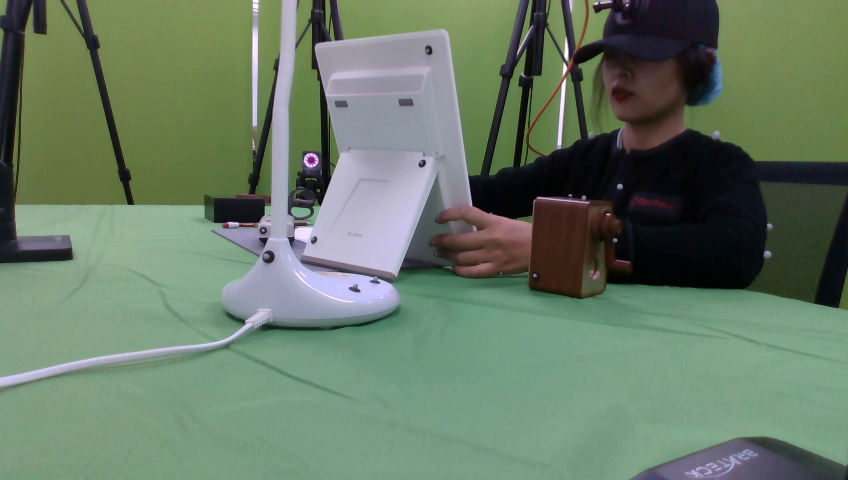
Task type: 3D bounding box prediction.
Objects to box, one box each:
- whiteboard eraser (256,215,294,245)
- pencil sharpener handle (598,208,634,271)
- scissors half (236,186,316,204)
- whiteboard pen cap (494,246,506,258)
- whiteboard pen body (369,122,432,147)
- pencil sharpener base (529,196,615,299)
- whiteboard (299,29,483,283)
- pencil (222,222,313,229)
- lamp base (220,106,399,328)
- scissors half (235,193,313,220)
[{"bbox_3d":[-0.232,-0.016,0.951,0.056,0.042,0.112,2,7,-12],"label":"whiteboard eraser"},{"bbox_3d":[0.208,0.000,0.644,0.030,0.068,0.036,10,23,42],"label":"pencil sharpener handle"},{"bbox_3d":[-0.320,-0.097,1.316,0.176,0.040,0.013,-3,11,-29],"label":"scissors half"},{"bbox_3d":[0.117,0.019,0.932,0.018,0.018,0.033,3,5,5],"label":"whiteboard pen cap"},{"bbox_3d":[-0.032,-0.150,0.852,0.017,0.017,0.141,8,2,35],"label":"whiteboard pen body"},{"bbox_3d":[0.168,0.007,0.678,0.076,0.107,0.062,10,10,42],"label":"pencil sharpener base"},{"bbox_3d":[-0.074,-0.082,0.741,0.216,0.305,0.144,9,30,38],"label":"whiteboard"},{"bbox_3d":[-0.302,-0.030,1.188,0.195,0.012,0.012,-2,9,-42],"label":"pencil"},{"bbox_3d":[-0.101,-0.023,0.531,0.160,0.180,0.179,4,10,10],"label":"lamp base"},{"bbox_3d":[-0.324,-0.077,1.319,0.176,0.040,0.012,17,6,-31],"label":"scissors half"}]
